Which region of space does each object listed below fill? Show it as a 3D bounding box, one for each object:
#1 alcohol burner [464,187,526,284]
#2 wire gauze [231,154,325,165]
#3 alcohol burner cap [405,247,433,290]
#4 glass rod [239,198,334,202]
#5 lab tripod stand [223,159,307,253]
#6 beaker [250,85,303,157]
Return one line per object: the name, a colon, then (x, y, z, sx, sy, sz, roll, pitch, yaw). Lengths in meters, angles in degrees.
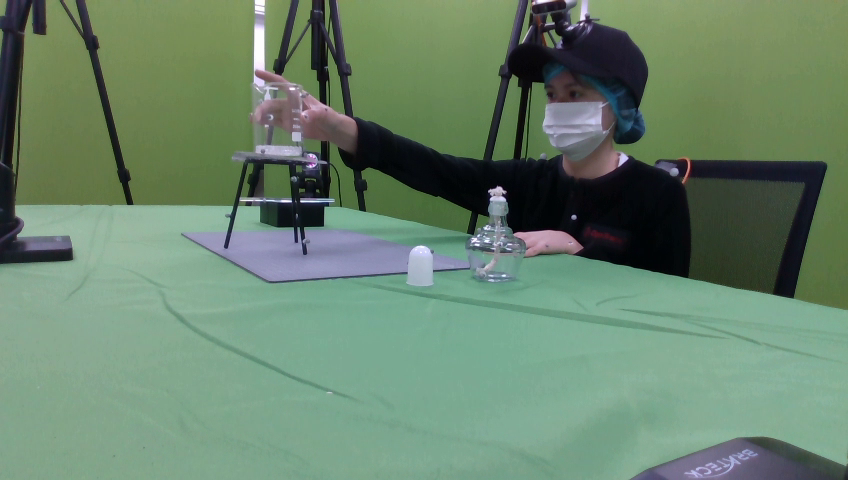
alcohol burner: (0.089, -0.007, 0.747, 0.078, 0.119, 0.078, 4, 9, 0)
wire gauze: (-0.215, -0.118, 0.881, 0.125, 0.011, 0.121, 0, 7, -19)
alcohol burner cap: (-0.005, 0.031, 0.698, 0.034, 0.048, 0.034, 3, 8, 0)
glass rod: (-0.277, -0.081, 1.232, 0.201, 0.008, 0.008, -1, 8, -30)
lab tripod stand: (-0.220, -0.053, 0.896, 0.148, 0.131, 0.148, 1, 6, 0)
beaker: (-0.213, -0.171, 0.872, 0.074, 0.100, 0.084, 3, 9, 15)
